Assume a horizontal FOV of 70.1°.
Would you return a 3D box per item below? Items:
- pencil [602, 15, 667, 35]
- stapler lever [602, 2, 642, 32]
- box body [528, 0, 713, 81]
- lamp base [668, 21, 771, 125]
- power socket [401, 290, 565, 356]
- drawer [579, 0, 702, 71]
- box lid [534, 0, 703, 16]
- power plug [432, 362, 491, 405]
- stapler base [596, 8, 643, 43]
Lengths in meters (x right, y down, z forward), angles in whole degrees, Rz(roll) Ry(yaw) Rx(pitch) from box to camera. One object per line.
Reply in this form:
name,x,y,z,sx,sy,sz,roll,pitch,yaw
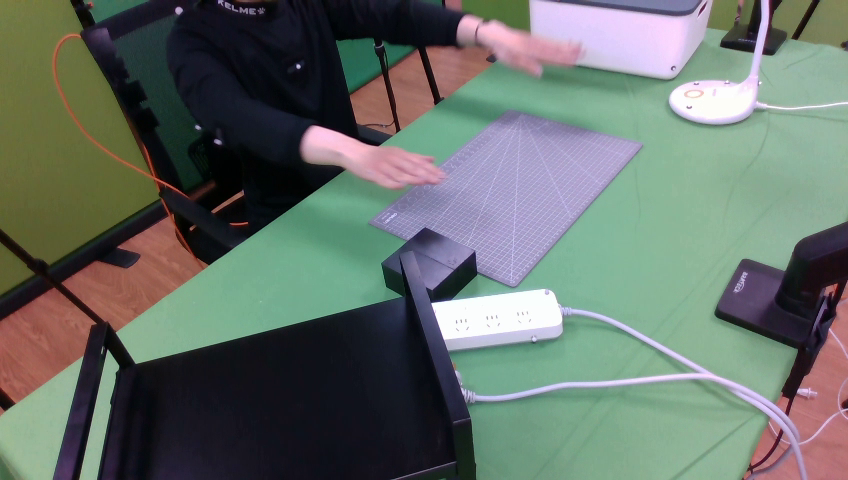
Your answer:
pencil,0.484,-0.494,1.390,0.195,0.012,0.012,-21,42,-20
stapler lever,0.452,-0.517,1.380,0.118,0.040,0.026,-39,61,-19
box body,0.450,-0.512,1.398,0.361,0.161,0.254,19,48,28
lamp base,0.577,-0.333,1.155,0.179,0.181,0.160,6,42,12
power socket,0.080,0.112,0.821,0.227,0.033,0.072,-7,41,0
drawer,0.485,-0.489,1.363,0.210,0.073,0.194,24,62,21
box lid,0.440,-0.569,1.350,0.369,0.015,0.264,19,47,28
power plug,0.045,0.182,0.758,0.073,0.035,0.052,21,43,-18
stapler base,0.454,-0.502,1.399,0.131,0.024,0.041,-38,61,-20
